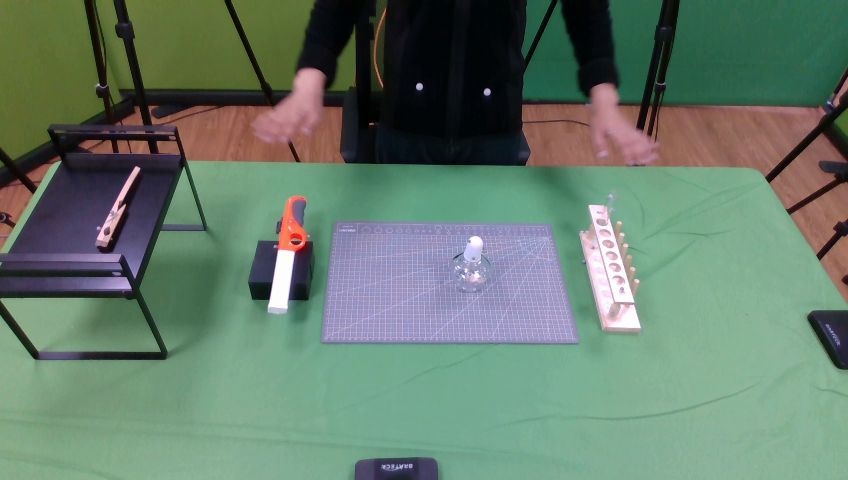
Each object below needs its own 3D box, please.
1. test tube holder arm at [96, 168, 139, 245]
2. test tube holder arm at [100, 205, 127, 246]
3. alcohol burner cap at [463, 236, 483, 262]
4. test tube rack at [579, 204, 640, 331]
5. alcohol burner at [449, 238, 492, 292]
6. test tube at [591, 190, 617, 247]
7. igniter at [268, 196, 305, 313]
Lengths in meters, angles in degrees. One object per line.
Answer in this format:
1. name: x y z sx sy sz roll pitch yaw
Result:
1. test tube holder arm: -0.487 -0.058 0.968 0.013 0.015 0.177 27 37 -27
2. test tube holder arm: -0.480 -0.025 0.938 0.010 0.015 0.087 28 36 -26
3. alcohol burner cap: 0.089 0.013 1.075 0.034 0.048 0.033 4 47 -4
4. test tube rack: 0.353 0.047 1.137 0.067 0.085 0.241 2 46 -2
5. alcohol burner: 0.086 0.038 1.101 0.078 0.119 0.077 3 45 -2
6. test tube: 0.340 -0.038 1.149 0.017 0.151 0.017 1 50 -1
7. igniter: -0.248 0.016 1.095 0.057 0.025 0.274 9 46 -12
